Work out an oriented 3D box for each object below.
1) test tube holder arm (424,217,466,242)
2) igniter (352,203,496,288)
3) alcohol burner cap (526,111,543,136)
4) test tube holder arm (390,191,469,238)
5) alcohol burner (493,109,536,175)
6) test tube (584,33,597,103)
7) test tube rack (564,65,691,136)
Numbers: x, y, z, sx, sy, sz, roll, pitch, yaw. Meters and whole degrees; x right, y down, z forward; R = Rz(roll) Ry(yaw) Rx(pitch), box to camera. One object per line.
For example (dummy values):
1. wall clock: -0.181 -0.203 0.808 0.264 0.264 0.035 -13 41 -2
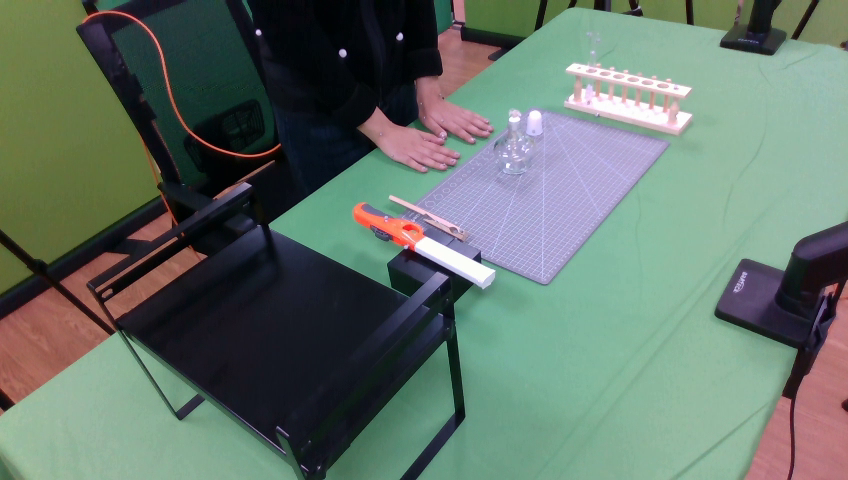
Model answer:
1. test tube holder arm: 0.033 -0.020 0.992 0.087 0.015 0.010 32 84 36
2. igniter: -0.011 0.002 0.899 0.274 0.025 0.057 27 45 33
3. alcohol burner cap: 0.219 -0.232 1.196 0.034 0.048 0.033 -4 41 4
4. test tube holder arm: 0.006 -0.044 1.019 0.177 0.015 0.013 32 84 36
5. alcohol burner: 0.163 -0.179 1.087 0.078 0.119 0.077 -5 38 4
6. test tube: 0.330 -0.338 1.199 0.017 0.151 0.017 -5 45 5
7. test tube rack: 0.404 -0.288 1.204 0.240 0.085 0.067 24 49 32
